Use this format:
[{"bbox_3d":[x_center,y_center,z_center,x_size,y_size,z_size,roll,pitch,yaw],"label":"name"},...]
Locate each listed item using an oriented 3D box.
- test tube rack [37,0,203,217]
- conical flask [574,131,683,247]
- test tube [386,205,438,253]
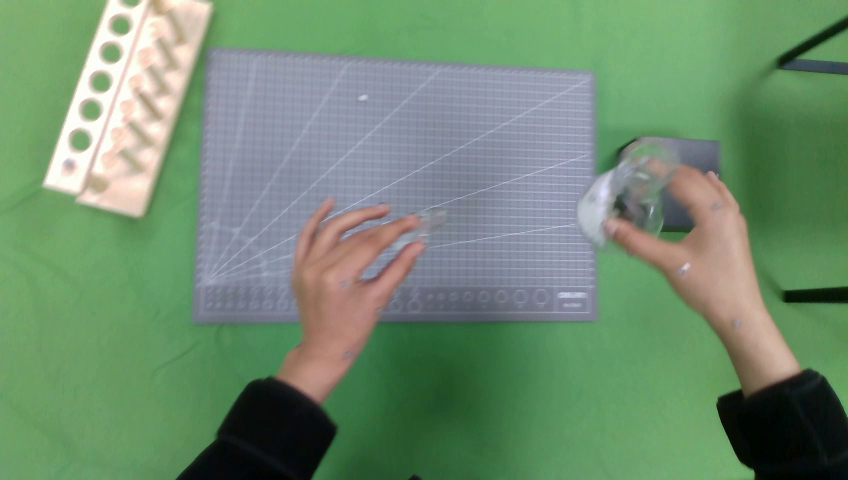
[{"bbox_3d":[-0.301,-0.153,0.615,0.067,0.085,0.241,15,82,-7],"label":"test tube rack"},{"bbox_3d":[0.166,-0.044,0.480,0.075,0.122,0.075,-1,75,3],"label":"conical flask"},{"bbox_3d":[-0.013,-0.007,0.524,0.017,0.150,0.017,2,80,-13],"label":"test tube"}]
